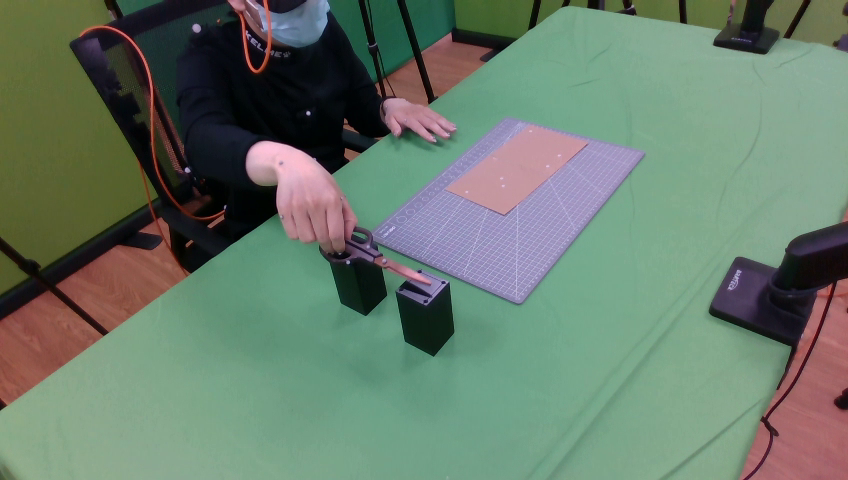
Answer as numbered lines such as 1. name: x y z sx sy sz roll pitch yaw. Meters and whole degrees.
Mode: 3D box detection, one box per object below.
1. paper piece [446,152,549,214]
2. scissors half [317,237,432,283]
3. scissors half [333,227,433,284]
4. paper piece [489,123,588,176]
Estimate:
1. paper piece: 0.130 -0.105 1.078 0.134 0.004 0.136 28 52 32
2. scissors half: -0.066 0.029 0.782 0.174 0.013 0.040 16 36 22
3. scissors half: -0.055 0.019 0.796 0.173 0.013 0.040 29 48 34
4. paper piece: 0.218 -0.176 1.150 0.135 0.009 0.138 30 52 31
